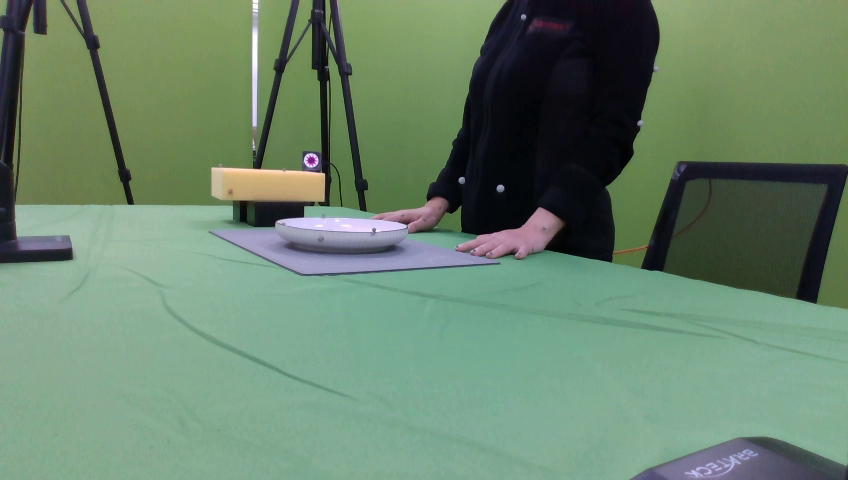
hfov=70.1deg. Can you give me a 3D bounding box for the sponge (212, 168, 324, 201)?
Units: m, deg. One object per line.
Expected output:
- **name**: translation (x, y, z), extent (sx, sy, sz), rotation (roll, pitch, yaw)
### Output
- **sponge**: translation (-0.325, -0.115, 1.259), extent (0.208, 0.061, 0.117), rotation (-2, 8, -30)

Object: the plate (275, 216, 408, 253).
- **plate**: translation (-0.129, -0.009, 0.954), extent (0.209, 0.038, 0.209), rotation (2, 7, 0)
